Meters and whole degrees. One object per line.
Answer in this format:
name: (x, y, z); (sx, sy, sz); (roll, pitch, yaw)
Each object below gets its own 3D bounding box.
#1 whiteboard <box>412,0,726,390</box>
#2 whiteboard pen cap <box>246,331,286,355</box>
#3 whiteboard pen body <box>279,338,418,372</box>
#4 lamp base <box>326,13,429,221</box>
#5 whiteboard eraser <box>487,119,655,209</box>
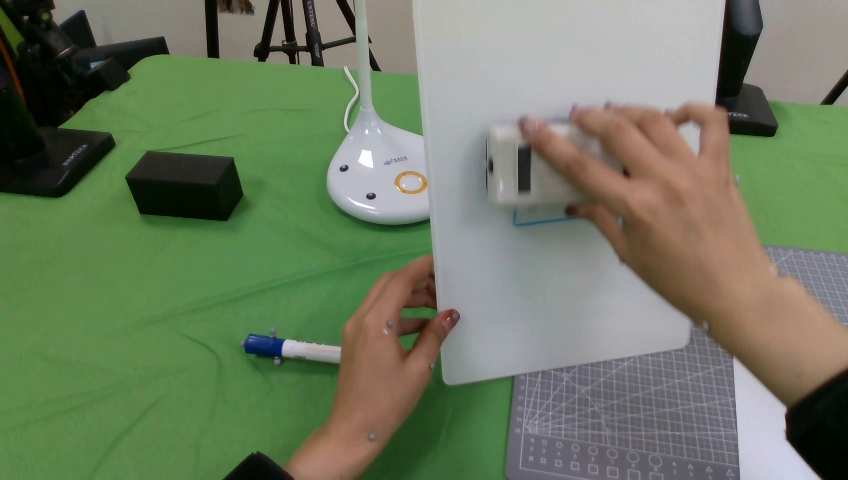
whiteboard: (0.101, -0.057, 0.512); (0.217, 0.307, 0.142); (-7, 23, -6)
whiteboard pen cap: (-0.133, 0.089, 0.517); (0.033, 0.018, 0.018); (8, 42, 1)
whiteboard pen body: (-0.074, 0.096, 0.513); (0.141, 0.017, 0.017); (6, 42, 3)
lamp base: (-0.041, -0.139, 0.655); (0.161, 0.182, 0.177); (-28, 46, -26)
whiteboard eraser: (0.100, -0.053, 0.419); (0.113, 0.056, 0.041); (-4, 12, -6)
